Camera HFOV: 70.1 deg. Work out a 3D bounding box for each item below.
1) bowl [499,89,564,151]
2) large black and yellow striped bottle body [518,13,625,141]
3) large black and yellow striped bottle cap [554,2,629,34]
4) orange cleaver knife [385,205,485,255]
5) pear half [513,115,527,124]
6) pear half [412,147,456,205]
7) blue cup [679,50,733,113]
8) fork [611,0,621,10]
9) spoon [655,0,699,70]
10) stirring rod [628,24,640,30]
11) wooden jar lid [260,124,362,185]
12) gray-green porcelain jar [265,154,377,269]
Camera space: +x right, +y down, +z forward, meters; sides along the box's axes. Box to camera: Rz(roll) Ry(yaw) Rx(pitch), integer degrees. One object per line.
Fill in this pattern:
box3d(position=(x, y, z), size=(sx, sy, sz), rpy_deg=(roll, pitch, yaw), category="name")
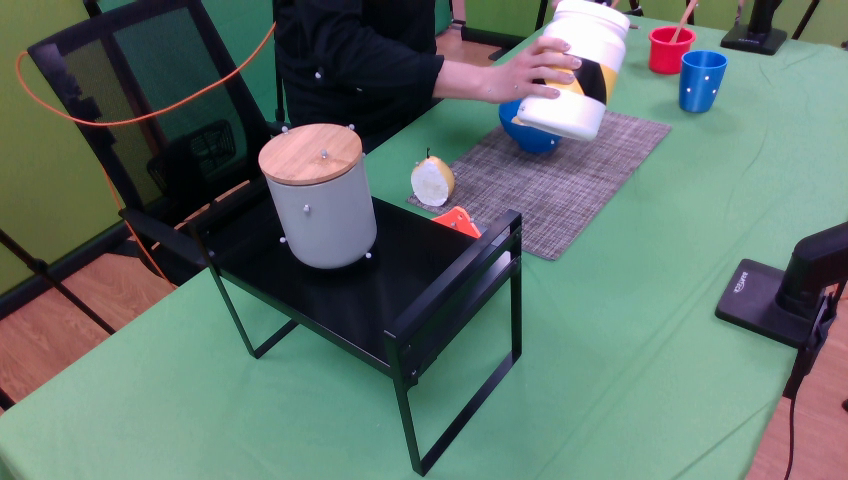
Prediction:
box3d(position=(0.220, -0.223, 1.155), size=(0.151, 0.077, 0.150), rpy_deg=(-4, 40, 4), category="bowl")
box3d(position=(0.235, -0.262, 0.953), size=(0.131, 0.184, 0.130), rpy_deg=(17, 8, -2), category="large black and yellow striped bottle body")
box3d(position=(0.259, -0.341, 0.940), size=(0.115, 0.019, 0.115), rpy_deg=(16, 7, -2), category="large black and yellow striped bottle cap")
box3d(position=(0.012, -0.010, 0.942), size=(0.012, 0.077, 0.210), rpy_deg=(-36, 19, -35), category="orange cleaver knife")
box3d(position=(0.212, -0.227, 1.152), size=(0.088, 0.031, 0.070), rpy_deg=(7, 46, 10), category="pear half")
box3d(position=(0.019, -0.120, 1.042), size=(0.076, 0.110, 0.056), rpy_deg=(11, 44, 16), category="pear half")
box3d(position=(0.545, -0.309, 1.193), size=(0.092, 0.100, 0.092), rpy_deg=(-4, 39, 3), category="blue cup")
box3d(position=(0.446, -0.539, 1.438), size=(0.207, 0.019, 0.028), rpy_deg=(-57, 35, 12), category="fork")
box3d(position=(0.567, -0.463, 1.337), size=(0.041, 0.022, 0.193), rpy_deg=(30, 96, 38), category="spoon")
box3d(position=(0.419, -0.508, 1.404), size=(0.174, 0.006, 0.014), rpy_deg=(28, 54, 35), category="stirring rod")
box3d(position=(-0.119, -0.088, 0.645), size=(0.108, 0.021, 0.108), rpy_deg=(-4, 40, 4), category="wooden jar lid")
box3d(position=(-0.112, -0.039, 0.685), size=(0.106, 0.127, 0.105), rpy_deg=(-4, 40, 4), category="gray-green porcelain jar")
